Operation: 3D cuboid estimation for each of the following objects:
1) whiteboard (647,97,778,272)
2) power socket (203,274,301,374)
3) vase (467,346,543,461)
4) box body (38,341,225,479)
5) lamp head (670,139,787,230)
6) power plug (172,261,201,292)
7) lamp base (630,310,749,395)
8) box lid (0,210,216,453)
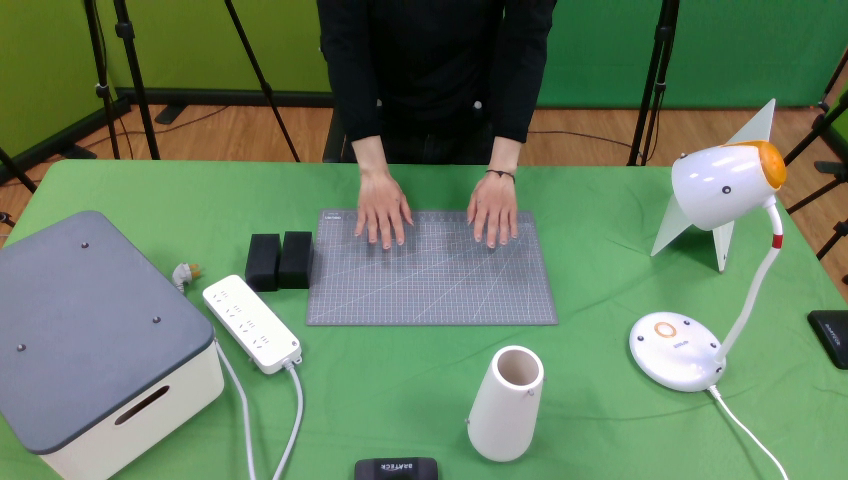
[{"bbox_3d":[0.602,-0.079,1.162,0.144,0.306,0.216,35,51,2],"label":"whiteboard"},{"bbox_3d":[-0.297,0.140,1.035,0.072,0.033,0.225,-32,57,-29],"label":"power socket"},{"bbox_3d":[0.116,0.234,0.861,0.098,0.201,0.097,1,47,-1],"label":"vase"},{"bbox_3d":[-0.506,0.155,0.916,0.362,0.161,0.254,35,54,26],"label":"box body"},{"bbox_3d":[0.415,-0.079,0.812,0.113,0.123,0.112,13,70,-37],"label":"lamp head"},{"bbox_3d":[-0.428,0.075,1.101,0.053,0.035,0.072,-13,91,-31],"label":"power plug"},{"bbox_3d":[0.447,0.142,0.984,0.161,0.181,0.178,-24,55,-24],"label":"lamp base"},{"bbox_3d":[-0.504,0.102,0.863,0.369,0.015,0.263,35,53,26],"label":"box lid"}]
